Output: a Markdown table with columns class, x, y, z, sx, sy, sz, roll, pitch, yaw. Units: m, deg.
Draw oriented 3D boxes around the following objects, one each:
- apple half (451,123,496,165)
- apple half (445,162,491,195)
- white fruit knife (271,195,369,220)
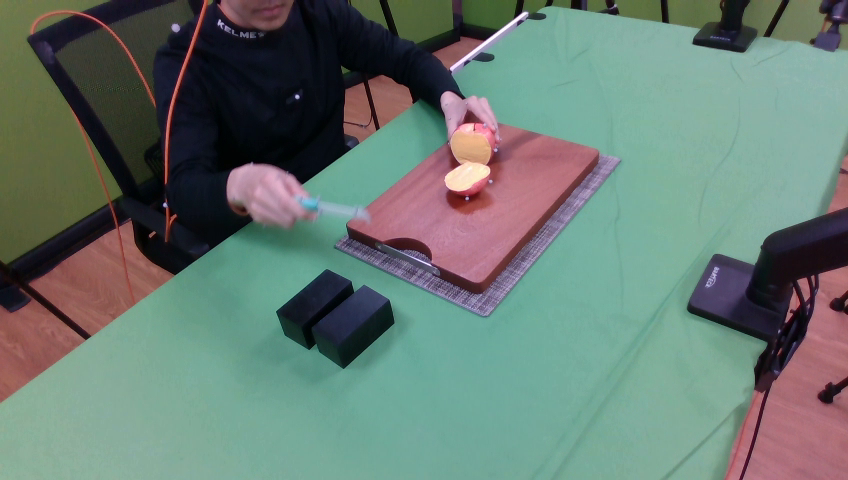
| class | x | y | z | sx | sy | sz | roll | pitch | yaw |
| --- | --- | --- | --- | --- | --- | --- | --- | --- | --- |
| apple half | 0.093 | -0.173 | 1.074 | 0.080 | 0.075 | 0.053 | 10 | 39 | 25 |
| apple half | 0.076 | -0.098 | 1.020 | 0.081 | 0.033 | 0.081 | -16 | 35 | 12 |
| white fruit knife | -0.141 | -0.042 | 0.793 | 0.205 | 0.028 | 0.016 | 10 | 66 | 42 |
